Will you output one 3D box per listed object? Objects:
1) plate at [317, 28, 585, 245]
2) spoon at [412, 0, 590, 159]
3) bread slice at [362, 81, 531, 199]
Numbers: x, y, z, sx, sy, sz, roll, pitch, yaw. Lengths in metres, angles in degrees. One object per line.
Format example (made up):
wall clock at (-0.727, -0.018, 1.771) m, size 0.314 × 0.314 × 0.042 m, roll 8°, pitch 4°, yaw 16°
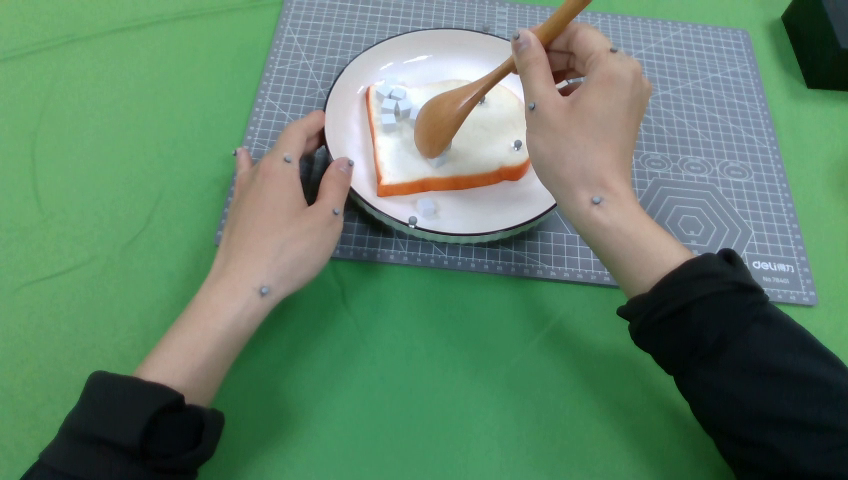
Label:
plate at (0.021, -0.083, 0.482) m, size 0.209 × 0.038 × 0.207 m, roll 2°, pitch 61°, yaw -4°
spoon at (0.053, -0.118, 0.404) m, size 0.022 × 0.194 × 0.041 m, roll 7°, pitch 55°, yaw -48°
bread slice at (0.019, -0.087, 0.486) m, size 0.132 × 0.019 × 0.104 m, roll -8°, pitch 62°, yaw -8°
